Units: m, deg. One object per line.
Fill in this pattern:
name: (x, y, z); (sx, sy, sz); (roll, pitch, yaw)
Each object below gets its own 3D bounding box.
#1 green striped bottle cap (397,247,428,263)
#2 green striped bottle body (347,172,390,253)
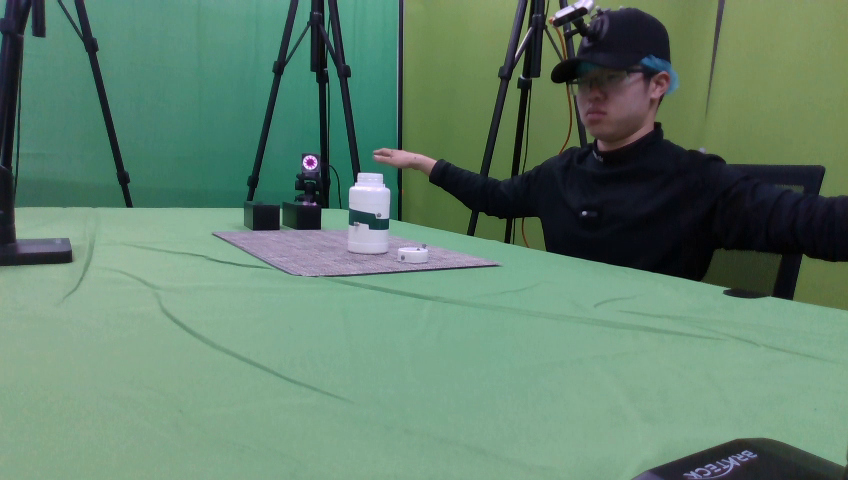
green striped bottle cap: (-0.016, 0.021, 0.851); (0.044, 0.020, 0.044); (1, 5, 0)
green striped bottle body: (-0.083, -0.043, 0.913); (0.063, 0.119, 0.063); (2, 7, 0)
